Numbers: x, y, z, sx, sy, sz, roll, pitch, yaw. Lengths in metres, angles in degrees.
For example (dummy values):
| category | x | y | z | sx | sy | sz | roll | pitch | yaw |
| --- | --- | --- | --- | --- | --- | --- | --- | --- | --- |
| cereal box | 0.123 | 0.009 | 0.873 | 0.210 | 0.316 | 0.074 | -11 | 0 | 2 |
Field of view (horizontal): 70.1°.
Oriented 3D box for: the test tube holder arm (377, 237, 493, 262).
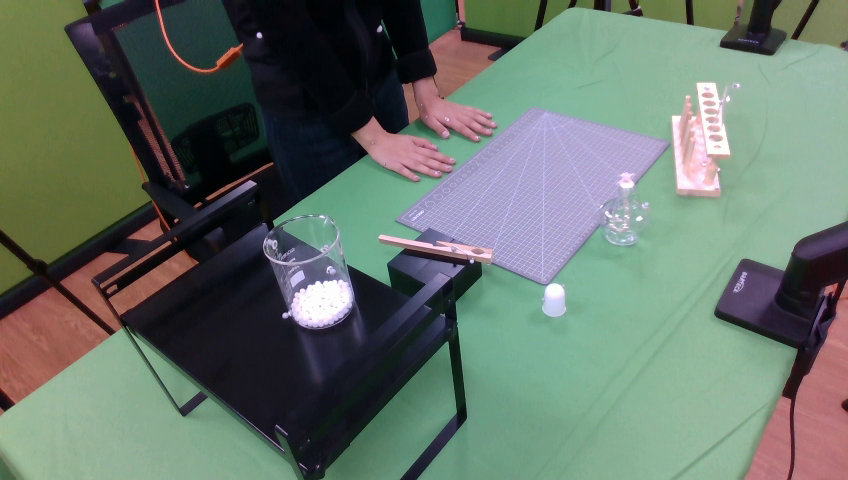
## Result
| category | x | y | z | sx | sy | sz | roll | pitch | yaw |
| --- | --- | --- | --- | --- | --- | --- | --- | --- | --- |
| test tube holder arm | 0.014 | 0.013 | 0.888 | 0.177 | 0.015 | 0.013 | 7 | 45 | 17 |

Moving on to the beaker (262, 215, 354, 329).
| category | x | y | z | sx | sy | sz | roll | pitch | yaw |
| --- | --- | --- | --- | --- | --- | --- | --- | --- | --- |
| beaker | -0.112 | 0.034 | 0.616 | 0.073 | 0.101 | 0.084 | 13 | 44 | 23 |

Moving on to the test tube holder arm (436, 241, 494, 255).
| category | x | y | z | sx | sy | sz | roll | pitch | yaw |
| --- | --- | --- | --- | --- | --- | --- | --- | --- | --- |
| test tube holder arm | 0.058 | 0.015 | 0.878 | 0.087 | 0.015 | 0.010 | 8 | 45 | 18 |

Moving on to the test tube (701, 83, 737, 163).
| category | x | y | z | sx | sy | sz | roll | pitch | yaw |
| --- | --- | --- | --- | --- | --- | --- | --- | --- | --- |
| test tube | 0.485 | -0.190 | 0.998 | 0.017 | 0.151 | 0.017 | -1 | 44 | 2 |

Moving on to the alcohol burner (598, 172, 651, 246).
| category | x | y | z | sx | sy | sz | roll | pitch | yaw |
| --- | --- | --- | --- | --- | --- | --- | --- | --- | --- |
| alcohol burner | 0.305 | -0.051 | 0.918 | 0.078 | 0.119 | 0.077 | -6 | 40 | 5 |

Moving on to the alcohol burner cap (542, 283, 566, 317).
| category | x | y | z | sx | sy | sz | roll | pitch | yaw |
| --- | --- | --- | --- | --- | --- | --- | --- | --- | --- |
| alcohol burner cap | 0.181 | 0.081 | 0.840 | 0.034 | 0.048 | 0.033 | -4 | 40 | 4 |

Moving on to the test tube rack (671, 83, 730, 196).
| category | x | y | z | sx | sy | sz | roll | pitch | yaw |
| --- | --- | --- | --- | --- | --- | --- | --- | --- | --- |
| test tube rack | 0.482 | -0.184 | 1.067 | 0.066 | 0.085 | 0.242 | 5 | 42 | 15 |
